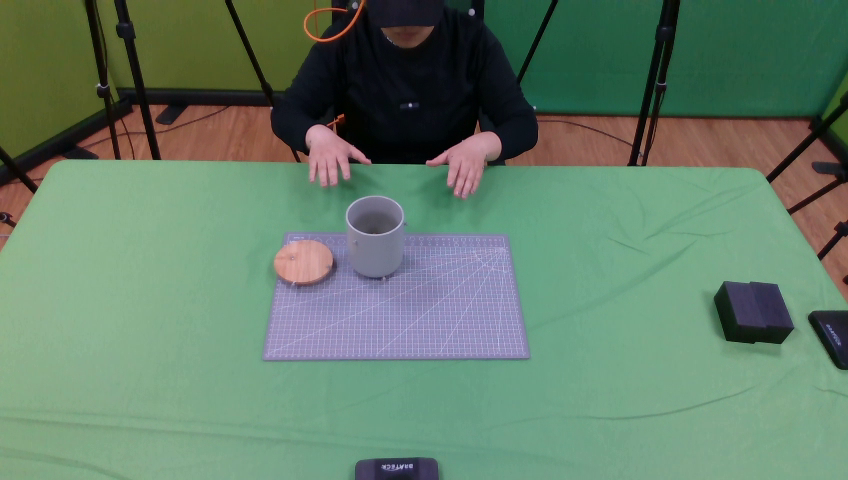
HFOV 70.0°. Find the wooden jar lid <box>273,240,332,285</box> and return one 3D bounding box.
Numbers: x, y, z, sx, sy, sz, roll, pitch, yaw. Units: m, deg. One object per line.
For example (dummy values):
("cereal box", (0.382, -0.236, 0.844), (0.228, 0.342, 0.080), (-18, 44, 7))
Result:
("wooden jar lid", (-0.227, 0.044, 1.137), (0.108, 0.021, 0.107), (3, 47, -3))

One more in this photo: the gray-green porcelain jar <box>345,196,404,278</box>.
("gray-green porcelain jar", (-0.091, -0.001, 1.117), (0.106, 0.127, 0.105), (2, 46, -2))
